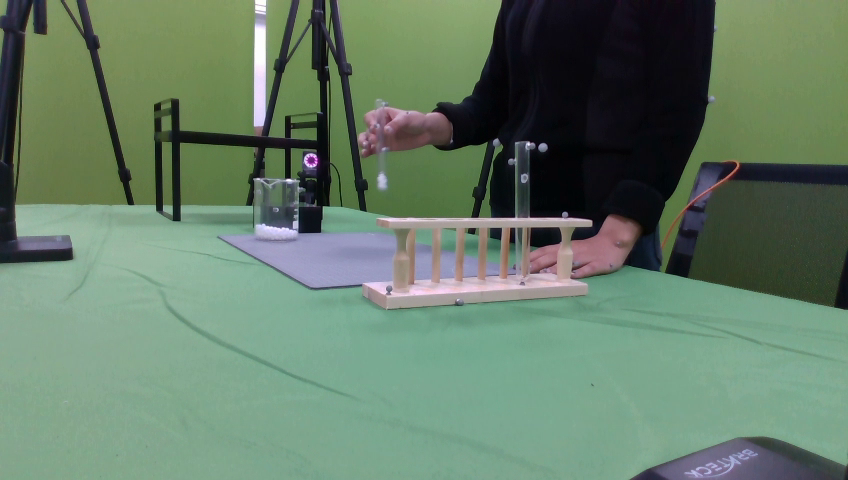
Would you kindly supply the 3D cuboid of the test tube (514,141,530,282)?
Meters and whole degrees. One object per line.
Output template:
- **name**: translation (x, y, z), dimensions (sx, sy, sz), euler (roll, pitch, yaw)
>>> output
- **test tube**: translation (0.103, -0.028, 0.636), dimensions (0.017, 0.150, 0.017), euler (-2, 12, 1)

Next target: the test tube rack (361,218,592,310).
- **test tube rack**: translation (0.059, 0.018, 0.640), dimensions (0.243, 0.085, 0.066), euler (-1, 8, -27)

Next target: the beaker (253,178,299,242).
- **beaker**: translation (-0.243, -0.050, 0.990), dimensions (0.074, 0.100, 0.084), euler (2, 9, 1)

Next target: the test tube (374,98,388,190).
- **test tube**: translation (-0.068, -0.152, 0.955), dimensions (0.017, 0.150, 0.017), euler (-3, -9, 0)
